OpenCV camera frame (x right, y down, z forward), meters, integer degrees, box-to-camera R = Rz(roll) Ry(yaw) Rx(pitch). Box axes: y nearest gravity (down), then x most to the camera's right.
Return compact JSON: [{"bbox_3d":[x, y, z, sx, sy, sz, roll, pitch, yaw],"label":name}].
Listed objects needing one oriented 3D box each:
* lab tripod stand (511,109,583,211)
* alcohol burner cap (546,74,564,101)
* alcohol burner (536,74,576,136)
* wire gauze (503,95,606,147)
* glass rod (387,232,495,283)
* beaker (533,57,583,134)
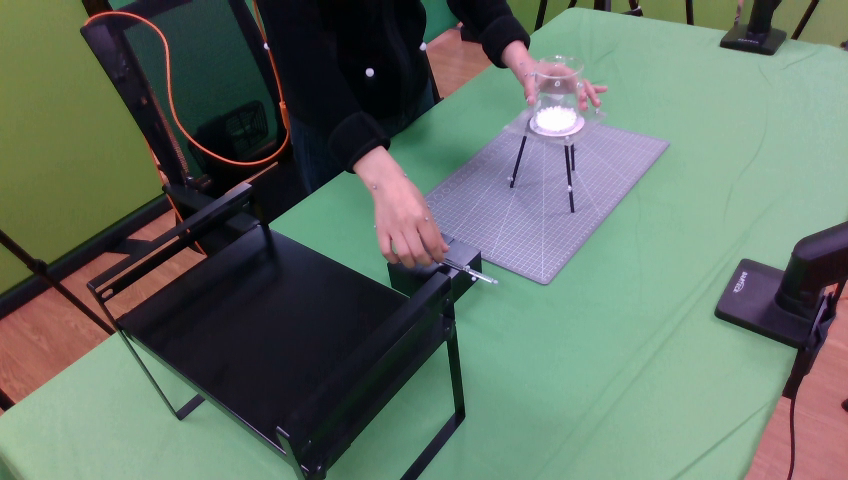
[{"bbox_3d":[0.220,-0.138,1.014,0.148,0.132,0.147,-3,41,3],"label":"lab tripod stand"},{"bbox_3d":[0.251,-0.293,1.151,0.034,0.048,0.033,0,41,1],"label":"alcohol burner cap"},{"bbox_3d":[0.255,-0.264,1.173,0.078,0.119,0.077,-6,40,6],"label":"alcohol burner"},{"bbox_3d":[0.212,-0.191,0.976,0.120,0.011,0.125,24,52,32],"label":"wire gauze"},{"bbox_3d":[0.020,0.024,0.880,0.198,0.008,0.008,24,49,32],"label":"glass rod"},{"bbox_3d":[0.208,-0.225,0.941,0.073,0.101,0.084,11,44,21],"label":"beaker"}]
